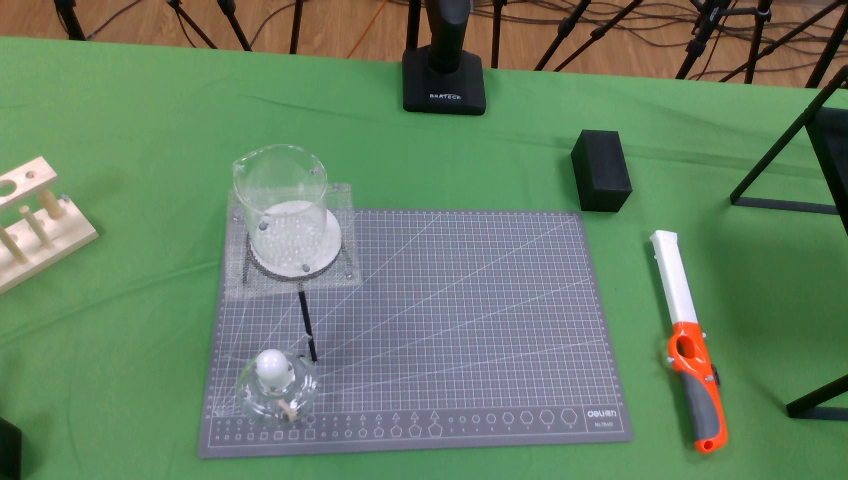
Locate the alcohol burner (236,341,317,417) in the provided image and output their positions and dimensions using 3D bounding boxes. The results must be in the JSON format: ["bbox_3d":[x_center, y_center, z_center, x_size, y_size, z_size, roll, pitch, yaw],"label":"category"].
[{"bbox_3d":[-0.143,0.128,0.586,0.078,0.120,0.077,5,58,-7],"label":"alcohol burner"}]

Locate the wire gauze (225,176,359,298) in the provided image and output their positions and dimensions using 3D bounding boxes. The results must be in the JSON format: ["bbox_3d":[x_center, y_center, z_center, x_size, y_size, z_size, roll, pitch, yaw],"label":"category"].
[{"bbox_3d":[-0.128,-0.009,0.581,0.122,0.011,0.124,-5,64,-9],"label":"wire gauze"}]

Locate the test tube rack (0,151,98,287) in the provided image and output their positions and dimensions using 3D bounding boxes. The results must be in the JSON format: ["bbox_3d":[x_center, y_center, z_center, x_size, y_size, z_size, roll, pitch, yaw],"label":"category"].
[{"bbox_3d":[-0.483,0.013,0.627,0.242,0.086,0.066,-38,71,-25],"label":"test tube rack"}]

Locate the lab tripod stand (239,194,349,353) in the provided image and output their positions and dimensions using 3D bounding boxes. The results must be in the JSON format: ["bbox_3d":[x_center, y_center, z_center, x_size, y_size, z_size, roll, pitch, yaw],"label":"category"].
[{"bbox_3d":[-0.132,0.029,0.635,0.149,0.132,0.147,4,60,-7],"label":"lab tripod stand"}]

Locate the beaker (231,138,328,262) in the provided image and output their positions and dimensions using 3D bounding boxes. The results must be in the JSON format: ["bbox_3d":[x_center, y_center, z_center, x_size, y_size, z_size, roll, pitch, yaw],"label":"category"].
[{"bbox_3d":[-0.126,-0.032,0.537,0.084,0.101,0.073,23,59,5],"label":"beaker"}]

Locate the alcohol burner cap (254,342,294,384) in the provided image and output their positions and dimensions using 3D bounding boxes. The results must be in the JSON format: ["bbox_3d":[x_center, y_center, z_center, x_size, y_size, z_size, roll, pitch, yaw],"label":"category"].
[{"bbox_3d":[-0.139,0.111,0.554,0.034,0.048,0.033,1,64,-2],"label":"alcohol burner cap"}]

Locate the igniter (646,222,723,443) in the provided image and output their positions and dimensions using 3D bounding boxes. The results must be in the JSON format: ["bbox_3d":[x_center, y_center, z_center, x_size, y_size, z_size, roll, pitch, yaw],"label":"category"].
[{"bbox_3d":[0.306,0.100,0.717,0.057,0.025,0.274,8,58,-15],"label":"igniter"}]
